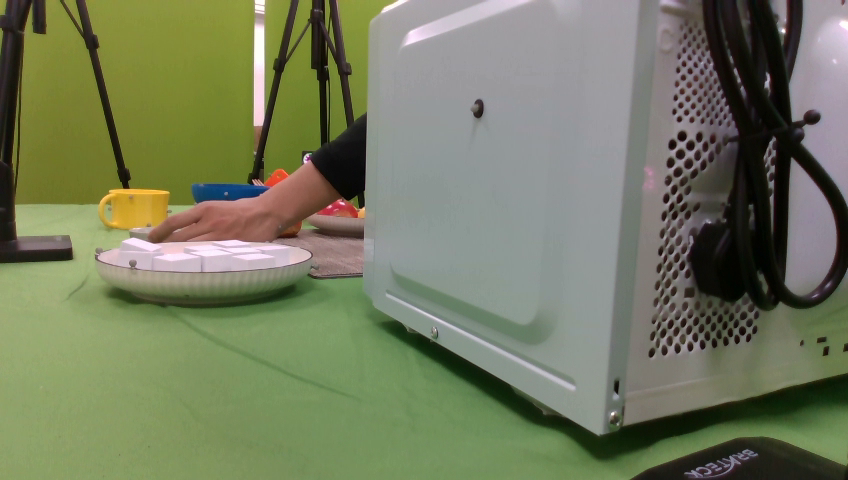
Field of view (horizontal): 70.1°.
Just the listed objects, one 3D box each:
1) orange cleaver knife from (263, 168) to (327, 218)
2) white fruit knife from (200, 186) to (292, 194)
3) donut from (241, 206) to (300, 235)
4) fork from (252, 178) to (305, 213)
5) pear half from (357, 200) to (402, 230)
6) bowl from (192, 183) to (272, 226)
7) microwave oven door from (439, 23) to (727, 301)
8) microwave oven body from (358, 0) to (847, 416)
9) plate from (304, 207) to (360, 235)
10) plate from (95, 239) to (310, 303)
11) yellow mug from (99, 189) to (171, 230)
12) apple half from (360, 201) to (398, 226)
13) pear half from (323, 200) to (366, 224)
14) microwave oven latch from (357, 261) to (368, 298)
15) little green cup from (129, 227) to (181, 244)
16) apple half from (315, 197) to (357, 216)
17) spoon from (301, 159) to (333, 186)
[{"bbox_3d":[-0.262,-0.088,1.353,0.211,0.077,0.012,28,13,-1],"label":"orange cleaver knife"},{"bbox_3d":[-0.399,-0.111,1.368,0.208,0.016,0.027,-4,-19,-30],"label":"white fruit knife"},{"bbox_3d":[-0.263,-0.032,1.039,0.099,0.048,0.099,4,10,0],"label":"donut"},{"bbox_3d":[-0.295,-0.084,1.292,0.206,0.018,0.028,29,11,25],"label":"fork"},{"bbox_3d":[-0.075,-0.046,1.133,0.076,0.056,0.110,12,7,31],"label":"pear half"},{"bbox_3d":[-0.381,-0.071,1.202,0.151,0.077,0.151,3,7,0],"label":"bowl"},{"bbox_3d":[0.181,-0.073,0.620,0.358,0.243,0.039,-2,8,-29],"label":"microwave oven door"},{"bbox_3d":[0.211,-0.047,0.474,0.444,0.260,0.324,-1,7,-28],"label":"microwave oven body"},{"bbox_3d":[-0.123,-0.037,1.149,0.209,0.038,0.209,2,7,0],"label":"plate"},{"bbox_3d":[-0.224,0.031,0.629,0.208,0.039,0.207,2,8,0],"label":"plate"},{"bbox_3d":[-0.519,-0.055,1.080,0.099,0.064,0.131,7,10,26],"label":"yellow mug"},{"bbox_3d":[-0.087,-0.059,1.190,0.081,0.033,0.081,9,30,-5],"label":"apple half"},{"bbox_3d":[-0.155,-0.059,1.197,0.088,0.031,0.070,15,32,-4],"label":"pear half"},{"bbox_3d":[-0.019,0.033,0.530,0.079,0.029,0.030,-1,7,-27],"label":"microwave oven latch"},{"bbox_3d":[-0.344,0.006,0.777,0.061,0.038,0.061,1,9,0],"label":"little green cup"},{"bbox_3d":[-0.162,-0.052,1.121,0.081,0.053,0.074,4,7,-14],"label":"apple half"},{"bbox_3d":[-0.316,-0.159,1.639,0.194,0.022,0.041,-49,32,-20],"label":"spoon"}]
